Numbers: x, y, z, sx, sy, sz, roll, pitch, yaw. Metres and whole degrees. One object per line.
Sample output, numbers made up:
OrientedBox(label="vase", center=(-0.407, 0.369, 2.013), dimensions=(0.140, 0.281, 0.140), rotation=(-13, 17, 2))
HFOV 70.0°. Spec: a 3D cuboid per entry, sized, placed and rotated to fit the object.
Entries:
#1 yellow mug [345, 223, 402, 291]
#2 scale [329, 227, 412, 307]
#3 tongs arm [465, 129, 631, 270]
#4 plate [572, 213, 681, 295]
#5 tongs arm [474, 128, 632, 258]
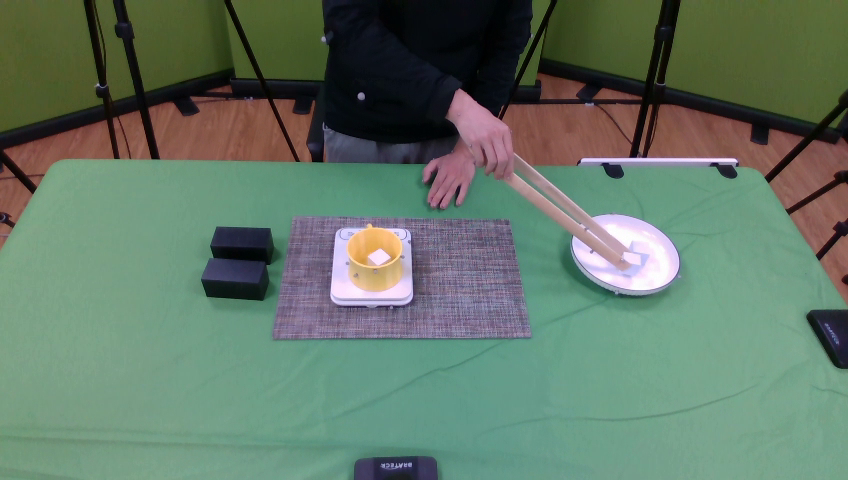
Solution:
OrientedBox(label="yellow mug", center=(-0.092, 0.022, 1.093), dimensions=(0.100, 0.064, 0.130), rotation=(-8, 46, -10))
OrientedBox(label="scale", center=(-0.099, 0.042, 1.139), dimensions=(0.149, 0.032, 0.199), rotation=(1, 46, -4))
OrientedBox(label="tongs arm", center=(0.232, -0.070, 1.110), dimensions=(0.386, 0.026, 0.050), rotation=(34, 44, -13))
OrientedBox(label="plate", center=(0.393, 0.030, 1.189), dimensions=(0.208, 0.039, 0.206), rotation=(2, 46, -2))
OrientedBox(label="tongs arm", center=(0.239, -0.084, 1.127), dimensions=(0.388, 0.028, 0.028), rotation=(37, 47, -10))
